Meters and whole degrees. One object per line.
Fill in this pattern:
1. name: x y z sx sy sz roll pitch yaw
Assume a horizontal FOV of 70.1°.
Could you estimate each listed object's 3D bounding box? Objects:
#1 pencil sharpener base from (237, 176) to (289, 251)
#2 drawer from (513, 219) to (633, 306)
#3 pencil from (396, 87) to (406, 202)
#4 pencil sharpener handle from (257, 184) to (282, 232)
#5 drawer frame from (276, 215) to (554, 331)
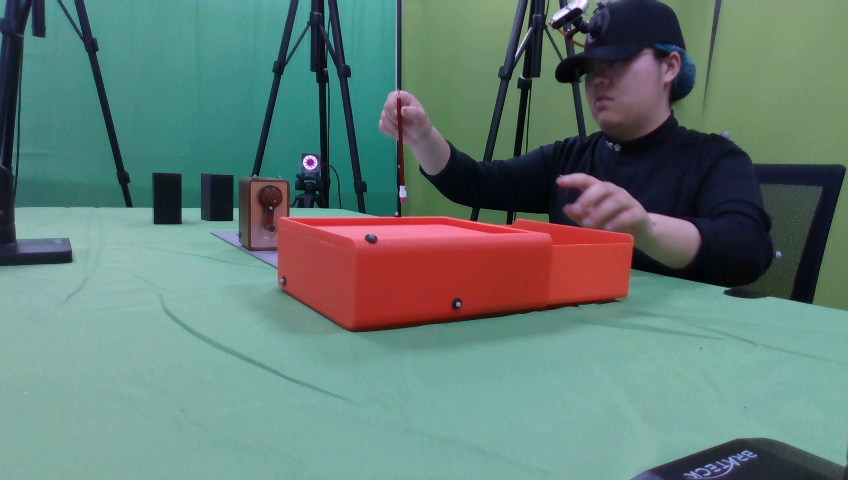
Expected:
1. pencil sharpener base: -0.243 -0.040 0.911 0.061 0.107 0.076 -1 8 -28
2. drawer: 0.085 0.021 0.674 0.213 0.073 0.193 -3 9 -32
3. pencil: -0.040 -0.158 1.018 0.012 0.194 0.012 -2 16 1
4. pencil sharpener handle: -0.219 -0.046 0.865 0.036 0.067 0.030 5 5 -29
5. drawer frame: -0.015 0.022 0.610 0.215 0.082 0.200 -3 9 -32
